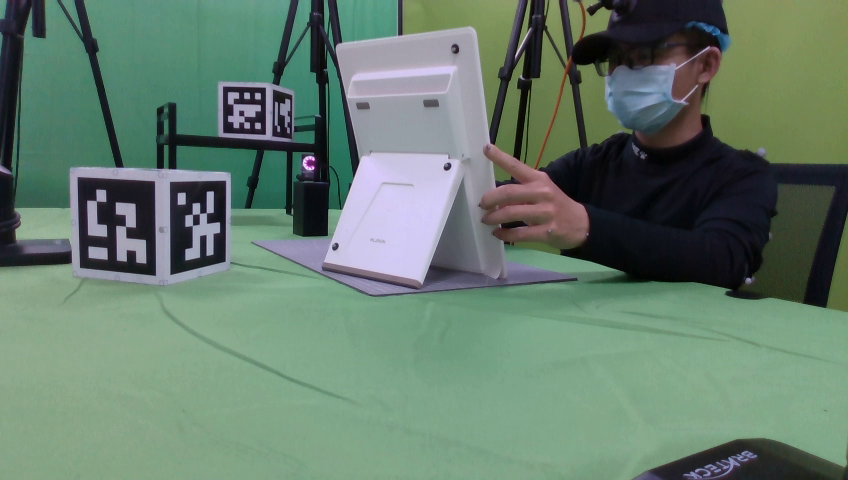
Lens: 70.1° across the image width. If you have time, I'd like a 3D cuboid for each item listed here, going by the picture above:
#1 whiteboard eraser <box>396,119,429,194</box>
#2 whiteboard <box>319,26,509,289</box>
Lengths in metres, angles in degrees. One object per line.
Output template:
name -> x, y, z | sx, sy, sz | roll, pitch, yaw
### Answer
whiteboard eraser -> -0.014, -0.108, 0.788 | 0.041, 0.101, 0.019 | 21, 39, 31
whiteboard -> -0.046, -0.076, 0.720 | 0.216, 0.305, 0.144 | 9, 29, 39
